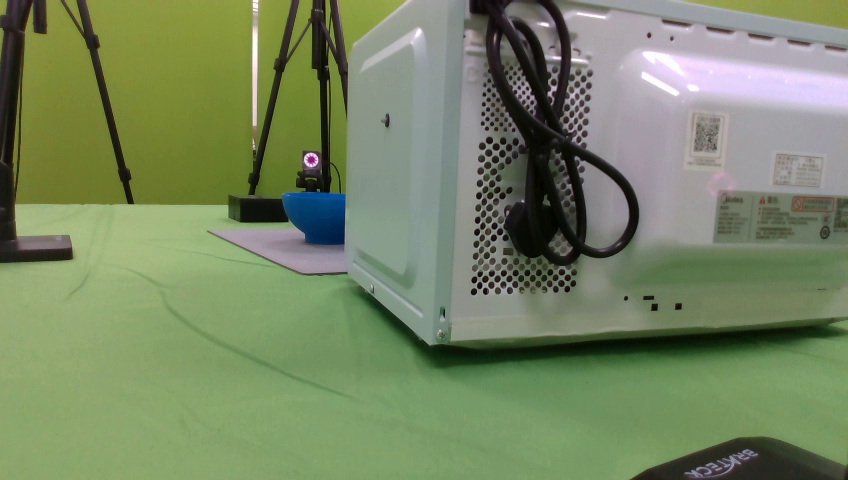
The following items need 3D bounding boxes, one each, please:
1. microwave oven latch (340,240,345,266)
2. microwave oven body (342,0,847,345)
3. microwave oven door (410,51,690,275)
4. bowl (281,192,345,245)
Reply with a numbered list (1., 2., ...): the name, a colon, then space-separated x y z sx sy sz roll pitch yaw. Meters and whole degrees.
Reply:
1. microwave oven latch: -0.052 0.016 0.662 0.079 0.029 0.030 1 7 -18
2. microwave oven body: 0.169 -0.060 0.573 0.444 0.260 0.324 1 7 -20
3. microwave oven door: 0.161 -0.084 0.723 0.357 0.243 0.039 0 8 -20
4. bowl: -0.158 -0.035 0.991 0.151 0.077 0.151 3 7 0
